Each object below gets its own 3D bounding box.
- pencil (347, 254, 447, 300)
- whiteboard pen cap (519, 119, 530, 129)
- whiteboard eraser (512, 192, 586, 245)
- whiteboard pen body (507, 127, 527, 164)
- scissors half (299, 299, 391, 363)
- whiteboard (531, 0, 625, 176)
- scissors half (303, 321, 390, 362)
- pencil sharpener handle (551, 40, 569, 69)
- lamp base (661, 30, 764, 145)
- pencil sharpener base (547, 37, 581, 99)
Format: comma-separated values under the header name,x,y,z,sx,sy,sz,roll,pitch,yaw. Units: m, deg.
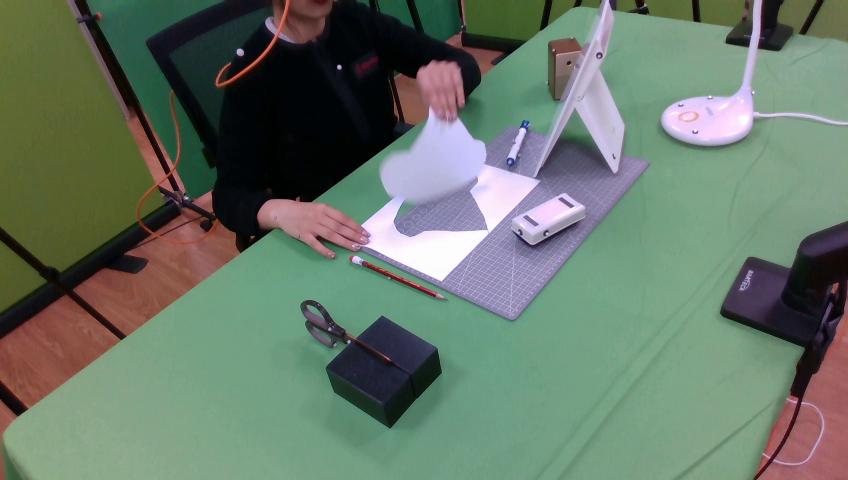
name,x,y,z,sx,sy,sz,roll,pitch,yaw
pencil,-0.044,0.058,0.933,0.192,0.012,0.012,22,49,29
whiteboard pen cap,0.199,-0.226,1.205,0.018,0.018,0.033,7,42,18
whiteboard eraser,0.199,-0.032,0.962,0.113,0.042,0.055,-27,43,-20
whiteboard pen body,0.181,-0.189,1.162,0.017,0.017,0.140,8,42,19
scissors half,-0.107,0.120,0.794,0.174,0.040,0.013,26,46,32
whiteboard,0.320,-0.258,1.050,0.144,0.306,0.217,22,45,5
scissors half,-0.104,0.138,0.803,0.174,0.040,0.013,8,29,44
pencil sharpener handle,0.291,-0.410,1.321,0.036,0.068,0.030,2,40,-6
lamp base,0.535,-0.287,1.096,0.179,0.181,0.159,-10,40,-4
pencil sharpener base,0.299,-0.368,1.290,0.061,0.107,0.076,-8,40,2
